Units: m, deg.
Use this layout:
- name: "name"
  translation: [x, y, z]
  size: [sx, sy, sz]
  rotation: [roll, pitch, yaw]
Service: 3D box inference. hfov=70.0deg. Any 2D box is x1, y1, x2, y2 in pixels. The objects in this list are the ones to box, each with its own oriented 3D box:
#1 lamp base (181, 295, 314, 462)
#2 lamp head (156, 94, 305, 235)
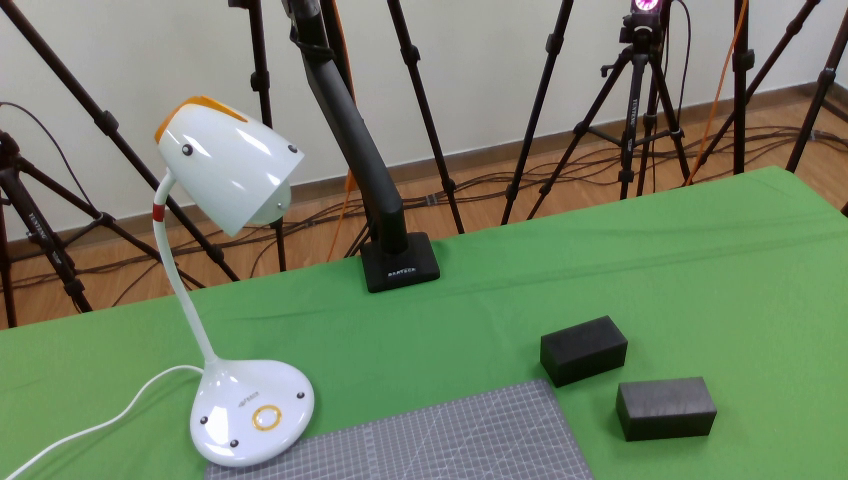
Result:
- name: "lamp base"
  translation: [-0.244, 0.158, 0.760]
  size: [0.178, 0.182, 0.160]
  rotation: [18, 44, 31]
- name: "lamp head"
  translation: [-0.199, -0.080, 0.596]
  size: [0.123, 0.112, 0.111]
  rotation: [36, 43, -13]
